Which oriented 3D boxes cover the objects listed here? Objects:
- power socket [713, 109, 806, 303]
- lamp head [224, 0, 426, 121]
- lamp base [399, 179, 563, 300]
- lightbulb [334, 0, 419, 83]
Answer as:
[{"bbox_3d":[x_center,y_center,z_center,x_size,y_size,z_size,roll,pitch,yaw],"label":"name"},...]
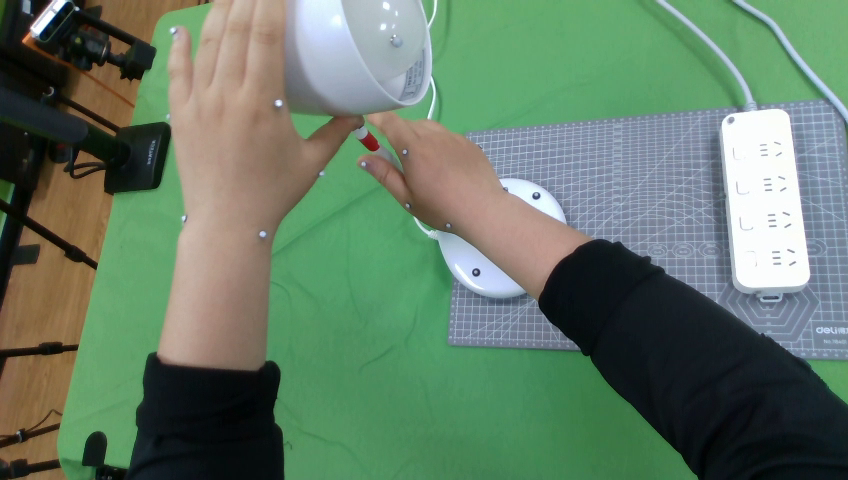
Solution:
[{"bbox_3d":[0.370,-0.044,0.673,0.072,0.033,0.225,-3,71,19],"label":"power socket"},{"bbox_3d":[-0.072,-0.128,0.417,0.122,0.113,0.111,-13,67,32],"label":"lamp head"},{"bbox_3d":[0.057,-0.024,0.702,0.178,0.182,0.159,-8,69,21],"label":"lamp base"},{"bbox_3d":[-0.054,-0.130,0.398,0.107,0.060,0.059,-1,72,28],"label":"lightbulb"}]
